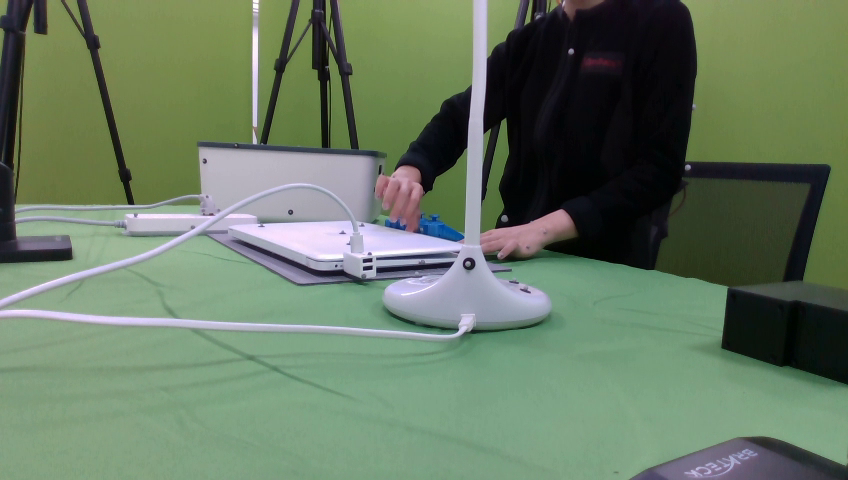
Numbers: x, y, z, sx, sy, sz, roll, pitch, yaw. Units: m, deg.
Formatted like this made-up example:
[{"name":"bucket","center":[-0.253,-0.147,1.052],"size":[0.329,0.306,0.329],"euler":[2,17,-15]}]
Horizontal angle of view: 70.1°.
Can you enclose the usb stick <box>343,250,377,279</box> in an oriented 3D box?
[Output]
[{"name":"usb stick","center":[-0.076,0.026,0.687],"size":[0.021,0.027,0.059],"euler":[-8,8,-31]}]

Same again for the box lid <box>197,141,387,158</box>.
[{"name":"box lid","center":[-0.275,-0.197,1.326],"size":[0.372,0.015,0.263],"euler":[4,8,1]}]

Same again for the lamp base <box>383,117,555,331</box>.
[{"name":"lamp base","center":[0.045,-0.019,0.547],"size":[0.161,0.180,0.179],"euler":[2,10,-4]}]

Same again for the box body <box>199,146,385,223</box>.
[{"name":"box body","center":[-0.276,-0.124,1.334],"size":[0.364,0.160,0.254],"euler":[3,7,1]}]

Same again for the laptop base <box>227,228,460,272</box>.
[{"name":"laptop base","center":[-0.122,0.011,0.889],"size":[0.237,0.023,0.352],"euler":[1,6,-35]}]

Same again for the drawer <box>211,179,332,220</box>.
[{"name":"drawer","center":[-0.328,-0.095,1.332],"size":[0.212,0.073,0.194],"euler":[5,9,6]}]

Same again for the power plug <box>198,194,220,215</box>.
[{"name":"power plug","center":[-0.387,-0.055,1.089],"size":[0.035,0.052,0.072],"euler":[-1,7,-22]}]

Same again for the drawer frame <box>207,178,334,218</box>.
[{"name":"drawer frame","center":[-0.327,-0.093,1.328],"size":[0.213,0.082,0.202],"euler":[-1,5,7]}]

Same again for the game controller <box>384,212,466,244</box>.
[{"name":"game controller","center":[-0.003,-0.022,1.074],"size":[0.097,0.051,0.154],"euler":[-5,9,-32]}]

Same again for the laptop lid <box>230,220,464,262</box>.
[{"name":"laptop lid","center":[-0.120,-0.006,0.888],"size":[0.243,0.013,0.355],"euler":[-3,9,-33]}]

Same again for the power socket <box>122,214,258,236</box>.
[{"name":"power socket","center":[-0.398,-0.028,1.049],"size":[0.228,0.032,0.072],"euler":[-3,8,-34]}]
